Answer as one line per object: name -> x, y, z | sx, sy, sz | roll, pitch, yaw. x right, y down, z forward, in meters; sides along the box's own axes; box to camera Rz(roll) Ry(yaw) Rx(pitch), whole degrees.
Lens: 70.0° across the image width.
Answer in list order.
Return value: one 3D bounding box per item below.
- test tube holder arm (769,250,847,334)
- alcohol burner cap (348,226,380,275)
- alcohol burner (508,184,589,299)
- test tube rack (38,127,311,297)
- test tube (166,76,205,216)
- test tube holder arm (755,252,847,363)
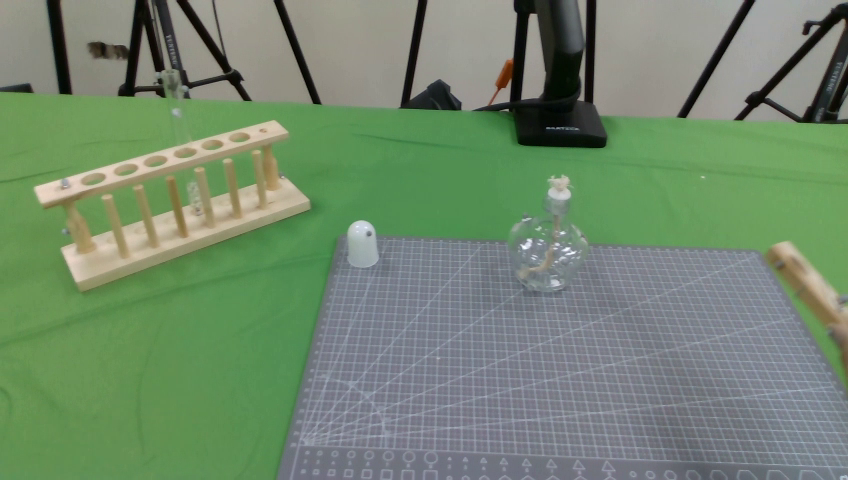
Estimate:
test tube holder arm -> 0.283, 0.074, 0.386 | 0.013, 0.015, 0.176 | -19, 52, -14
alcohol burner cap -> -0.061, 0.008, 0.608 | 0.034, 0.048, 0.033 | 2, 38, -1
alcohol burner -> 0.120, -0.003, 0.571 | 0.078, 0.120, 0.077 | 2, 39, -1
test tube rack -> -0.244, -0.036, 0.627 | 0.243, 0.086, 0.066 | -23, 44, -29
test tube -> -0.241, -0.091, 0.617 | 0.017, 0.151, 0.017 | 2, 32, -1
test tube holder arm -> 0.260, 0.044, 0.412 | 0.010, 0.015, 0.087 | -18, 52, -13
